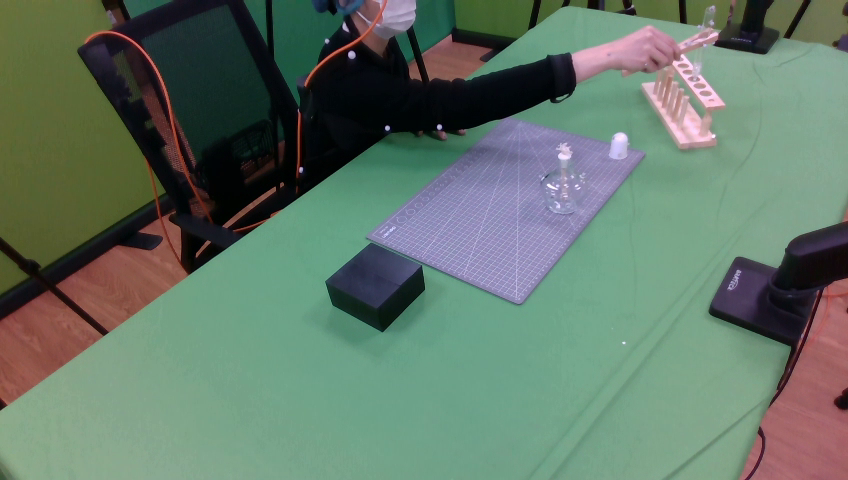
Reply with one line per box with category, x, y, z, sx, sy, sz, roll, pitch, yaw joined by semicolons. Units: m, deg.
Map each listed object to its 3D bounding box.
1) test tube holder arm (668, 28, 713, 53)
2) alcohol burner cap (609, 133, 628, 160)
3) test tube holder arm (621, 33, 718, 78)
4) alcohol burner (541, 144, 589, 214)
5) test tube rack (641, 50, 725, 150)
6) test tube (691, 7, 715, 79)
test tube holder arm;0.469;-0.347;1.066;0.088;0.015;0.010;-29;54;-6
alcohol burner cap;0.356;-0.172;1.101;0.034;0.048;0.033;-6;40;5
test tube holder arm;0.431;-0.324;1.061;0.178;0.015;0.013;-23;54;-1
alcohol burner;0.229;-0.102;0.983;0.078;0.119;0.077;-6;41;5
test tube rack;0.495;-0.279;1.175;0.067;0.085;0.241;-5;41;3
test tube;0.495;-0.346;1.077;0.017;0.151;0.017;-6;56;9
